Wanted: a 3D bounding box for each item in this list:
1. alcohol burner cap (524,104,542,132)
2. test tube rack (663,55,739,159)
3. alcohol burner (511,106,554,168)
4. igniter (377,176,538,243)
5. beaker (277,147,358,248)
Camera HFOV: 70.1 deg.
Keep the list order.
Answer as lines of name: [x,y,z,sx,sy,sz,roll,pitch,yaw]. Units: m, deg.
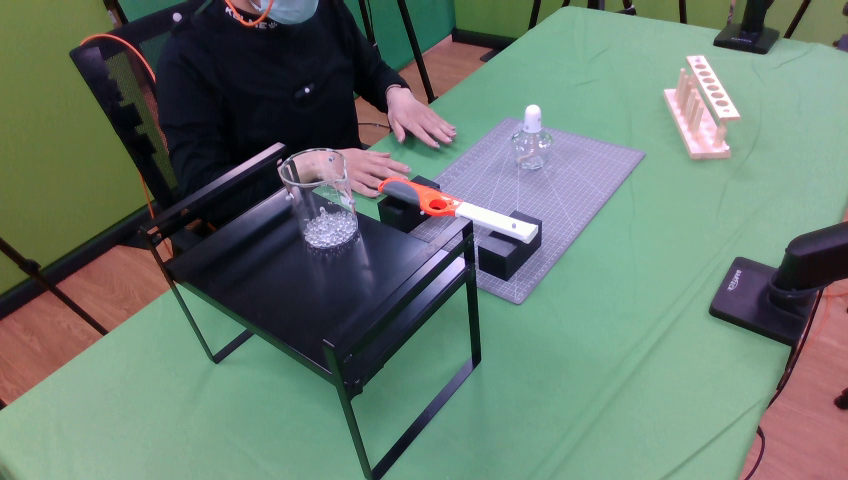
alcohol burner cap: [0.193,-0.216,1.065,0.034,0.048,0.033,-4,36,3]
test tube rack: [0.518,-0.256,1.144,0.066,0.085,0.241,-1,41,8]
alcohol burner: [0.196,-0.190,1.088,0.078,0.119,0.077,-3,42,3]
igniter: [0.046,-0.052,0.942,0.274,0.025,0.057,21,47,26]
beaker: [-0.117,-0.046,0.705,0.083,0.101,0.074,17,47,25]
